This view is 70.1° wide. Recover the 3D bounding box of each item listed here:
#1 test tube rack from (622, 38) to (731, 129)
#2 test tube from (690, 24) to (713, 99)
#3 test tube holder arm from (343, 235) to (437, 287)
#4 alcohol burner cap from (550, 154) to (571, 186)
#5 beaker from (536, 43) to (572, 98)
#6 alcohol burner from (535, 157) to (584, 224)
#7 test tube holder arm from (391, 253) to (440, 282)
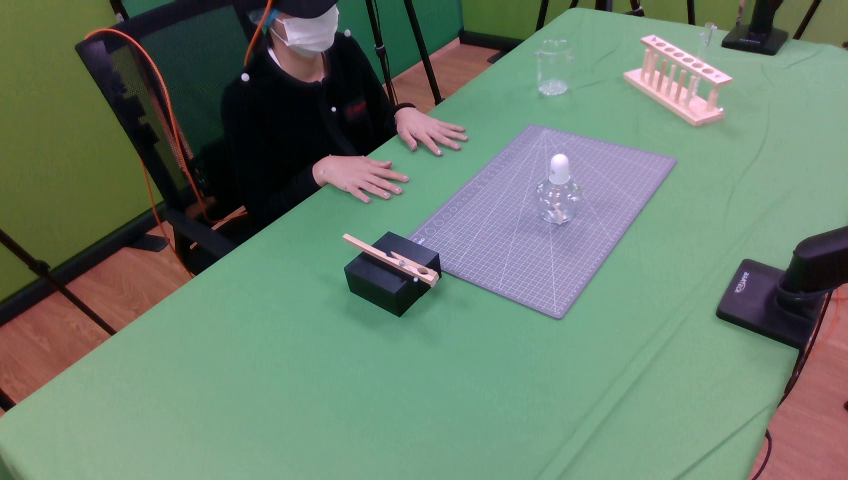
[{"bbox_3d":[0.506,-0.325,1.234,0.067,0.085,0.240,-18,41,-11],"label":"test tube rack"},{"bbox_3d":[0.534,-0.342,1.173,0.017,0.151,0.017,-3,41,3],"label":"test tube"},{"bbox_3d":[-0.053,0.028,0.879,0.177,0.015,0.013,22,57,32],"label":"test tube holder arm"},{"bbox_3d":[0.212,-0.112,0.944,0.034,0.048,0.033,-7,44,7],"label":"alcohol burner cap"},{"bbox_3d":[0.280,-0.368,1.311,0.074,0.101,0.084,4,41,14],"label":"beaker"},{"bbox_3d":[0.217,-0.085,0.967,0.078,0.119,0.077,-3,41,3],"label":"alcohol burner"},{"bbox_3d":[-0.015,0.039,0.858,0.087,0.015,0.010,23,57,32],"label":"test tube holder arm"}]
